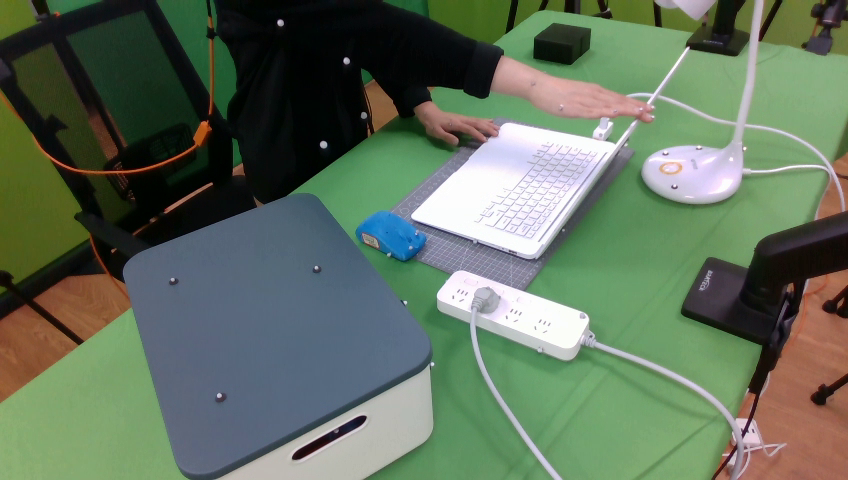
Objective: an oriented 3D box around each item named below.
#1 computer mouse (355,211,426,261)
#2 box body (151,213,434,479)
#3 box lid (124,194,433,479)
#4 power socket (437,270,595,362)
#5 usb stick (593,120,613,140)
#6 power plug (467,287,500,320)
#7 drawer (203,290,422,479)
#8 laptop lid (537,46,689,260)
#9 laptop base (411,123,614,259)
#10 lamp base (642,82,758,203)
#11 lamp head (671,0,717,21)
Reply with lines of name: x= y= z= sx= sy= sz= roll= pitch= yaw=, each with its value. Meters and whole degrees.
computer mouse: x=-0.055 y=-0.010 z=0.979 sx=0.116 sy=0.041 sz=0.063 roll=27 pitch=49 yaw=28
box body: x=-0.175 y=0.131 z=0.738 sx=0.255 sy=0.161 sz=0.360 roll=-25 pitch=43 yaw=-19
box lid: x=-0.182 y=0.076 z=0.689 sx=0.264 sy=0.015 sz=0.368 roll=-24 pitch=42 yaw=-20
power socket: x=0.119 y=0.101 z=0.832 sx=0.225 sy=0.033 sz=0.072 roll=19 pitch=48 yaw=27
usb stick: x=0.336 y=-0.201 z=1.146 sx=0.021 sy=0.027 sz=0.059 roll=26 pitch=53 yaw=26
power plug: x=0.073 y=0.092 z=0.814 sx=0.035 sy=0.053 sz=0.073 roll=29 pitch=54 yaw=34
drawer: x=-0.136 y=0.188 z=0.740 sx=0.195 sy=0.073 sz=0.210 roll=-24 pitch=52 yaw=-22
laptop lid: x=0.293 y=-0.136 z=0.927 sx=0.013 sy=0.241 sz=0.357 roll=35 pitch=51 yaw=11
laptop base: x=0.168 y=-0.101 z=1.073 sx=0.234 sy=0.023 sz=0.355 roll=17 pitch=45 yaw=30
lamp base: x=0.464 y=-0.174 z=0.992 sx=0.179 sy=0.181 sz=0.159 roll=-5 pitch=41 yaw=-1
lamp head: x=0.375 y=-0.373 z=0.807 sx=0.122 sy=0.113 sz=0.112 roll=-40 pitch=27 yaw=32
